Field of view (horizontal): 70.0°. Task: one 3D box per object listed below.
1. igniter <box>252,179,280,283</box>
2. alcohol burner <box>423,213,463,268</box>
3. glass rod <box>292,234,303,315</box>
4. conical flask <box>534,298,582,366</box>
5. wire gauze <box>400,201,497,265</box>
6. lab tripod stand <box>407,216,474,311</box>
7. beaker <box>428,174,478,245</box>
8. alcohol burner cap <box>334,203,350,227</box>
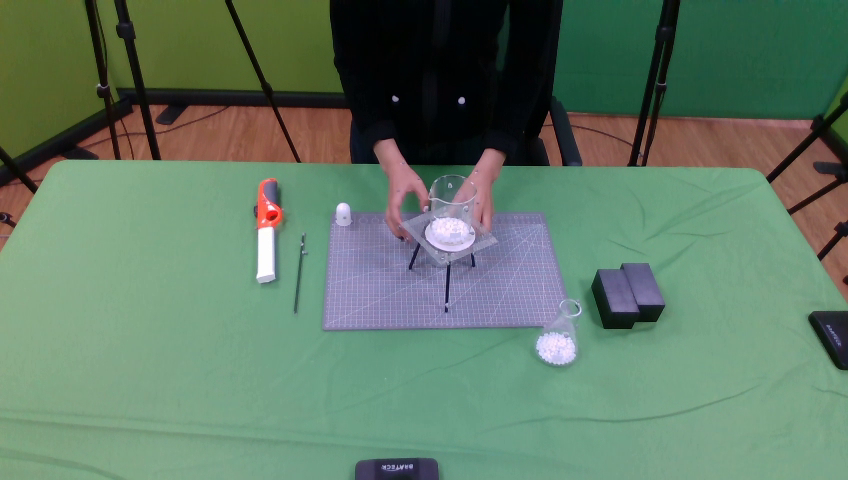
[{"bbox_3d":[-0.312,-0.027,1.197,0.057,0.025,0.274,-12,47,-2],"label":"igniter"},{"bbox_3d":[0.036,-0.004,1.140,0.078,0.120,0.077,1,46,-1],"label":"alcohol burner"},{"bbox_3d":[-0.236,0.059,1.133,0.008,0.008,0.198,-1,46,-4],"label":"glass rod"},{"bbox_3d":[0.229,0.149,1.005,0.075,0.122,0.075,2,46,-2],"label":"conical flask"},{"bbox_3d":[0.042,-0.013,1.043,0.125,0.011,0.120,-24,49,-23],"label":"wire gauze"},{"bbox_3d":[0.039,0.030,1.092,0.148,0.132,0.147,3,44,-2],"label":"lab tripod stand"},{"bbox_3d":[0.043,-0.047,1.009,0.084,0.101,0.073,-16,48,-19],"label":"beaker"},{"bbox_3d":[-0.166,-0.053,1.220,0.034,0.048,0.033,2,46,-2],"label":"alcohol burner cap"}]
